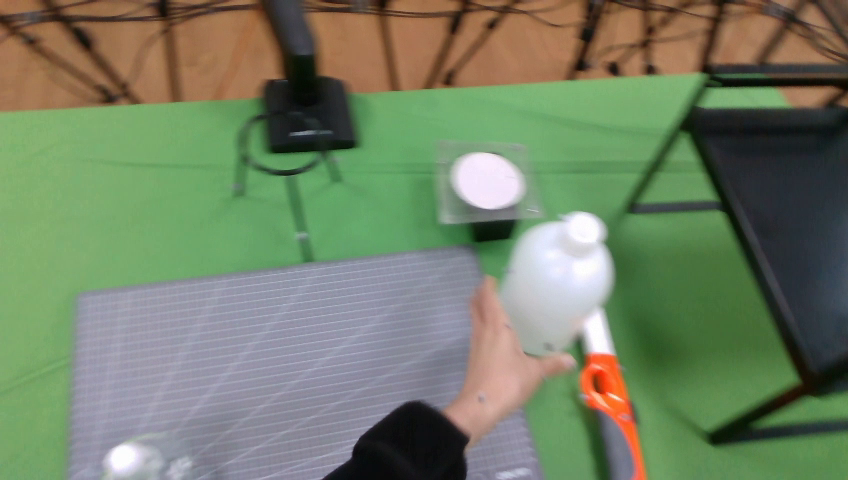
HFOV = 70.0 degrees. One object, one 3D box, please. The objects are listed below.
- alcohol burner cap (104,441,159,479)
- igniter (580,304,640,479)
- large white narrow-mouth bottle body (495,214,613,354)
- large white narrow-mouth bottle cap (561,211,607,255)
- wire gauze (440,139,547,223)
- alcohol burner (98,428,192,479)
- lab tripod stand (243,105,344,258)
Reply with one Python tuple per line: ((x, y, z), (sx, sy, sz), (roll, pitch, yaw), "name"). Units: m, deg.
((-0.240, 0.180, 0.492), (0.034, 0.048, 0.033), (2, 63, -3), "alcohol burner cap")
((0.195, 0.137, 0.672), (0.057, 0.025, 0.274), (8, 57, -18), "igniter")
((0.137, 0.039, 0.625), (0.102, 0.196, 0.101), (3, 58, -4), "large white narrow-mouth bottle body")
((0.145, -0.007, 0.553), (0.038, 0.024, 0.037), (3, 58, -5), "large white narrow-mouth bottle cap")
((0.081, -0.074, 0.738), (0.122, 0.011, 0.124), (0, 59, -7), "wire gauze")
((-0.244, 0.197, 0.523), (0.078, 0.120, 0.077), (5, 57, -7), "alcohol burner")
((-0.145, -0.072, 0.691), (0.149, 0.132, 0.147), (4, 59, -7), "lab tripod stand")
